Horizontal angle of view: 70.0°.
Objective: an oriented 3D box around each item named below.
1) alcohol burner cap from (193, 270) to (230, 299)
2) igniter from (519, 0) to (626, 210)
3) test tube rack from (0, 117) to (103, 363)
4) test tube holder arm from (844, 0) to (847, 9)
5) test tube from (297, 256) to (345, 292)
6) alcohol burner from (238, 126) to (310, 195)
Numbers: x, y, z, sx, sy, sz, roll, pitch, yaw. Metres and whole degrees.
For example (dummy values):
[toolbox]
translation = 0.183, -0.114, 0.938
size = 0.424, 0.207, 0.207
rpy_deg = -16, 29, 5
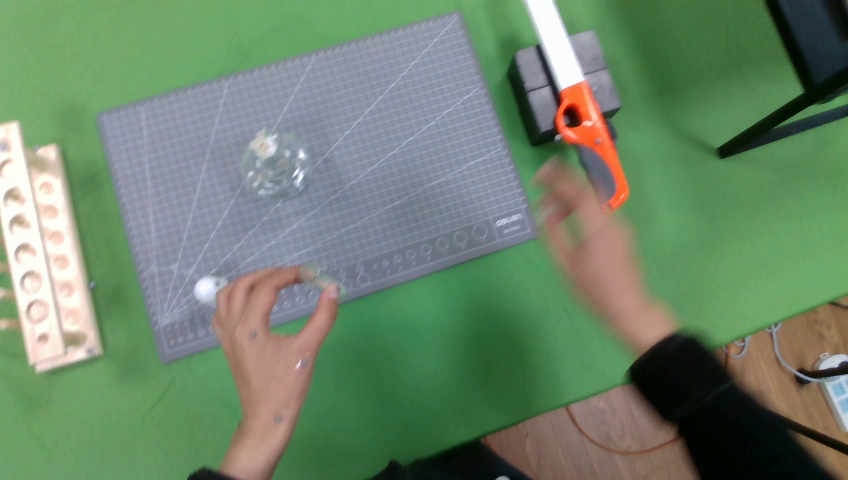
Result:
[alcohol burner cap]
translation = -0.234, 0.047, 0.661
size = 0.034, 0.048, 0.033
rpy_deg = 1, 81, -5
[igniter]
translation = 0.166, -0.167, 0.686
size = 0.057, 0.025, 0.275
rpy_deg = -20, 83, 5
[test tube rack]
translation = -0.416, 0.004, 0.636
size = 0.067, 0.085, 0.241
rpy_deg = -16, 83, -6
[test tube holder arm]
translation = 0.391, -0.293, 0.590
size = 0.013, 0.015, 0.178
rpy_deg = -23, 84, 28
[test tube]
translation = -0.088, 0.032, 0.533
size = 0.017, 0.150, 0.017
rpy_deg = 0, 80, 1
[alcohol burner]
translation = -0.164, -0.090, 0.651
size = 0.078, 0.119, 0.077
rpy_deg = 0, 82, -3
